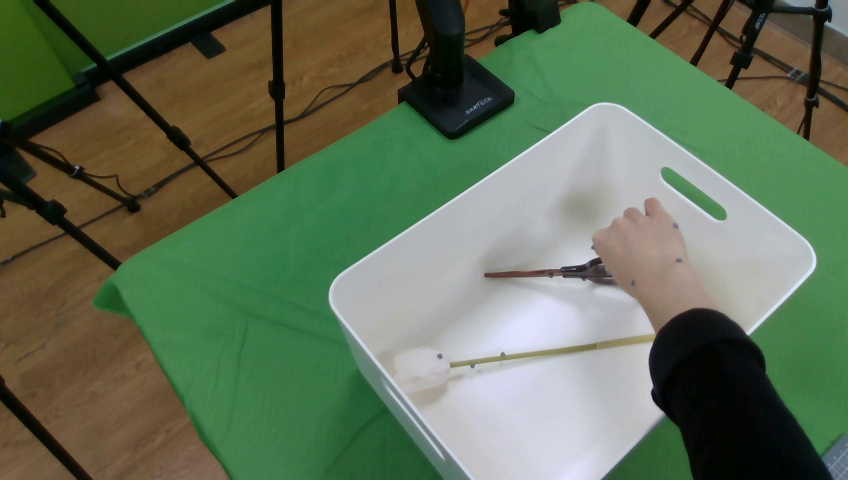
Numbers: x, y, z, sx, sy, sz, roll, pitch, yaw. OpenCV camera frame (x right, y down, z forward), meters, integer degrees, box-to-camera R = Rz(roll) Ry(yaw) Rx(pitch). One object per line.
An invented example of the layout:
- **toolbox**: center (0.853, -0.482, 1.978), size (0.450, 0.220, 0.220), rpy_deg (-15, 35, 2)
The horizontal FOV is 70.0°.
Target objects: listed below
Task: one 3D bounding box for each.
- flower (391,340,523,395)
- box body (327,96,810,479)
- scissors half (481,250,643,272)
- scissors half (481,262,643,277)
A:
- **flower**: center (0.131, 0.103, 0.658), size (0.363, 0.044, 0.038), rpy_deg (-10, 30, -29)
- **box body**: center (0.127, 0.063, 0.580), size (0.364, 0.162, 0.252), rpy_deg (-35, 64, -20)
- **scissors half**: center (0.144, 0.026, 0.654), size (0.174, 0.040, 0.012), rpy_deg (-8, 70, 27)
- **scissors half**: center (0.151, 0.032, 0.672), size (0.175, 0.040, 0.012), rpy_deg (0, 67, 10)
